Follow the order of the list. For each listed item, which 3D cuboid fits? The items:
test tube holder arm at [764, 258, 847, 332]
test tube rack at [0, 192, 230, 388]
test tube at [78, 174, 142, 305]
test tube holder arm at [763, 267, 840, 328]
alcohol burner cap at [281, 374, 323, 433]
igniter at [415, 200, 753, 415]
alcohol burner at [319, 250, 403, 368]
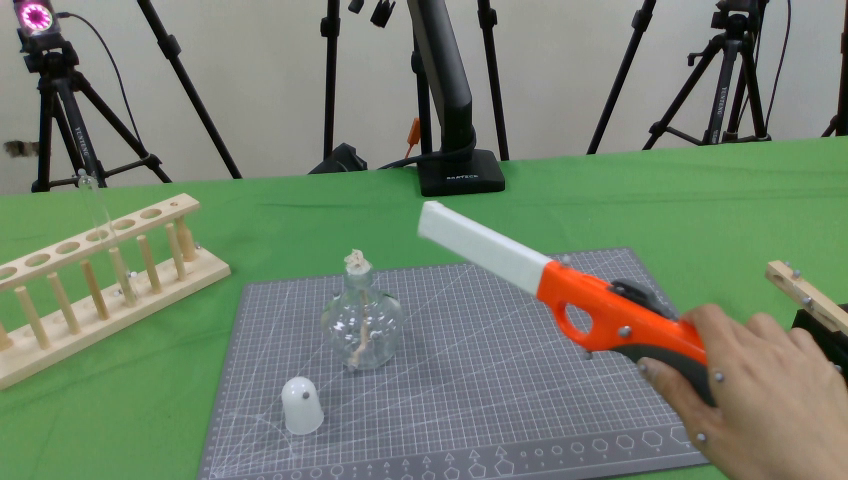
[{"bbox_3d":[0.351,0.066,0.506,0.015,0.013,0.176,-14,32,-7],"label":"test tube holder arm"},{"bbox_3d":[-0.332,0.041,0.624,0.066,0.086,0.242,26,42,36],"label":"test tube rack"},{"bbox_3d":[-0.309,0.003,0.598,0.017,0.151,0.017,-2,34,1],"label":"test tube"},{"bbox_3d":[0.342,0.049,0.547,0.015,0.010,0.087,-14,32,-7],"label":"test tube holder arm"},{"bbox_3d":[-0.103,0.132,0.503,0.034,0.048,0.033,0,33,0],"label":"alcohol burner cap"},{"bbox_3d":[0.093,0.033,0.424,0.025,0.057,0.274,-11,30,-44],"label":"igniter"},{"bbox_3d":[-0.058,0.058,0.550,0.078,0.120,0.077,0,34,1],"label":"alcohol burner"}]
